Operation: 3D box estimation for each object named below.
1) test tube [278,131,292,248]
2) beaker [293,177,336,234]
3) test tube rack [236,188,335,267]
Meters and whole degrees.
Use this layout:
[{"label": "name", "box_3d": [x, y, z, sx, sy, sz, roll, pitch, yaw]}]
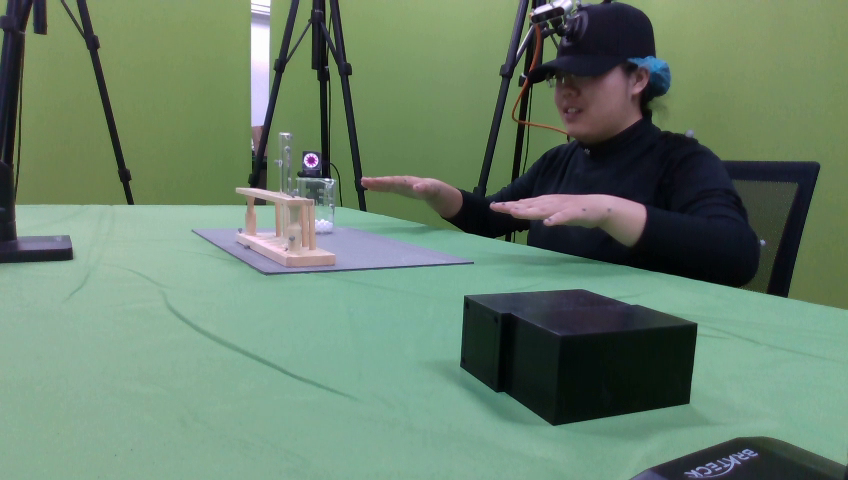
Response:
[{"label": "test tube", "box_3d": [-0.178, -0.063, 0.776, 0.017, 0.150, 0.017, 2, 11, 0]}, {"label": "beaker", "box_3d": [-0.198, -0.063, 1.107, 0.083, 0.100, 0.074, 10, 11, 40]}, {"label": "test tube rack", "box_3d": [-0.202, -0.025, 0.855, 0.067, 0.085, 0.241, -2, 9, -31]}]
